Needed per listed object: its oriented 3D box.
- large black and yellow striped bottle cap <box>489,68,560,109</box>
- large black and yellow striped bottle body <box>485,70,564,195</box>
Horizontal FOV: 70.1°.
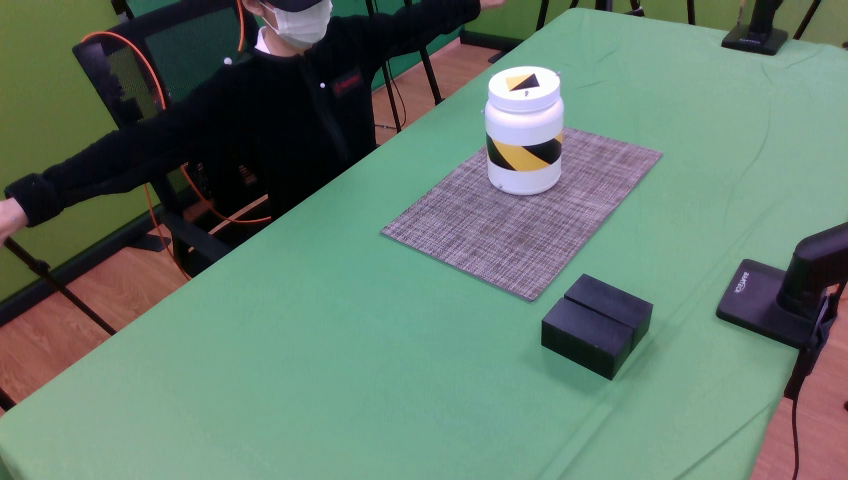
[{"bbox_3d":[0.161,-0.247,0.979,0.115,0.019,0.114,-5,39,4],"label":"large black and yellow striped bottle cap"},{"bbox_3d":[0.172,-0.184,1.034,0.131,0.185,0.130,-5,40,5],"label":"large black and yellow striped bottle body"}]
